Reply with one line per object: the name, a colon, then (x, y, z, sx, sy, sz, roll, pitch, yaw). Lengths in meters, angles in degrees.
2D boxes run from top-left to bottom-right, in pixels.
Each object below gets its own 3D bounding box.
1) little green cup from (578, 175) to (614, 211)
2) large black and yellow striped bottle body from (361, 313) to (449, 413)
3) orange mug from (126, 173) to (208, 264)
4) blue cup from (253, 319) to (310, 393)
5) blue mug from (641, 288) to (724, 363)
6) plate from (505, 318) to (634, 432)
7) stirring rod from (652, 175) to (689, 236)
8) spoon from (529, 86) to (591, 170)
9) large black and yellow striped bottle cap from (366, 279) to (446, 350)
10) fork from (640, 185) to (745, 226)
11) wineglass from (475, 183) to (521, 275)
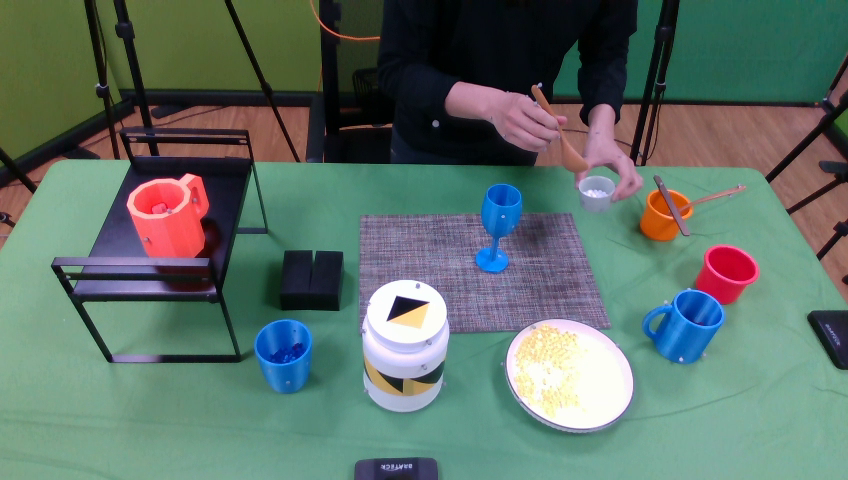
little green cup: (0.298, -0.081, 1.060, 0.061, 0.039, 0.061, -2, 40, 2)
large black and yellow striped bottle body: (-0.031, 0.163, 0.924, 0.131, 0.185, 0.130, 2, 46, -2)
orange mug: (-0.371, -0.040, 0.902, 0.083, 0.101, 0.126, 18, 52, 13)
blue cup: (-0.217, 0.187, 0.943, 0.093, 0.101, 0.092, 4, 45, -3)
blue mug: (0.432, 0.144, 1.033, 0.116, 0.106, 0.082, 8, 46, 5)
plate: (0.235, 0.221, 0.991, 0.209, 0.038, 0.208, 2, 45, -2)
stirring rod: (0.491, -0.072, 1.211, 0.014, 0.006, 0.175, 0, 47, -6)
spoon: (0.214, -0.174, 0.966, 0.041, 0.195, 0.021, -3, 49, 43)
large black and yellow striped bottle cap: (-0.025, 0.104, 0.864, 0.115, 0.019, 0.114, 3, 48, -3)
fork: (0.534, -0.069, 1.215, 0.207, 0.019, 0.028, -26, 27, 33)
wineglass: (0.134, -0.020, 1.115, 0.074, 0.173, 0.073, 2, 46, -2)
